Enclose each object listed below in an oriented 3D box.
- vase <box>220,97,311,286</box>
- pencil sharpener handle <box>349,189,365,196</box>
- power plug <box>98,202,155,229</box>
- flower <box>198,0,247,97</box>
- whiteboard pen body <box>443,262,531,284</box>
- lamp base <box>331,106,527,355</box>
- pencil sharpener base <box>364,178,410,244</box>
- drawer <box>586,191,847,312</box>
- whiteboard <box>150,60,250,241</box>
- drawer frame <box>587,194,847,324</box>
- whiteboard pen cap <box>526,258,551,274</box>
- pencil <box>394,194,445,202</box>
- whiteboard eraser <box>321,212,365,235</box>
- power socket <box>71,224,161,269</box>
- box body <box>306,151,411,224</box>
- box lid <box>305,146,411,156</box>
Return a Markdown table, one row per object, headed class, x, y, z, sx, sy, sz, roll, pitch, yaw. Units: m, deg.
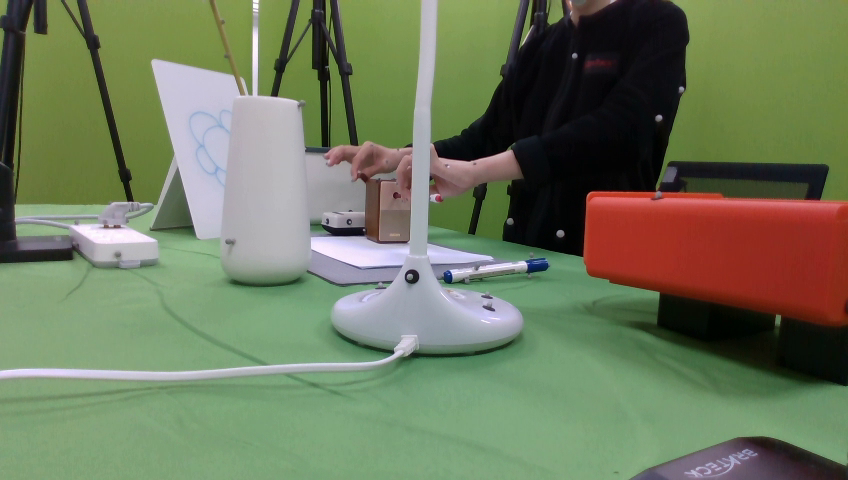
| class | x | y | z | sx | sy | sz | roll | pitch | yaw |
| --- | --- | --- | --- | --- | --- | --- | --- | --- | --- |
| vase | -0.172 | -0.052 | 0.662 | 0.098 | 0.200 | 0.098 | 3 | 8 | 0 |
| pencil sharpener handle | -0.097 | -0.085 | 1.067 | 0.068 | 0.036 | 0.030 | -1 | 8 | -25 |
| power plug | -0.416 | -0.027 | 0.848 | 0.073 | 0.052 | 0.035 | 0 | 8 | -28 |
| flower | -0.187 | -0.133 | 0.648 | 0.038 | 0.362 | 0.044 | -1 | 22 | 43 |
| whiteboard pen body | 0.088 | 0.038 | 0.733 | 0.141 | 0.017 | 0.017 | -5 | 10 | -27 |
| lamp base | 0.006 | -0.012 | 0.478 | 0.161 | 0.180 | 0.179 | 2 | 10 | 2 |
| pencil sharpener base | -0.062 | -0.051 | 1.031 | 0.061 | 0.107 | 0.076 | -1 | 8 | -25 |
| drawer | 0.281 | 0.001 | 0.513 | 0.195 | 0.073 | 0.210 | -1 | 8 | -29 |
| whiteboard | -0.408 | -0.139 | 1.093 | 0.143 | 0.305 | 0.218 | -15 | -1 | 26 |
| drawer frame | 0.285 | 0.004 | 0.508 | 0.203 | 0.082 | 0.212 | -1 | 6 | -29 |
| whiteboard pen cap | 0.141 | 0.033 | 0.759 | 0.033 | 0.018 | 0.018 | -7 | 11 | -26 |
| pencil | -0.016 | -0.066 | 0.932 | 0.012 | 0.012 | 0.193 | -1 | 5 | -25 |
| whiteboard eraser | -0.128 | -0.031 | 1.108 | 0.113 | 0.042 | 0.055 | -3 | 8 | -38 |
| power socket | -0.408 | 0.004 | 0.793 | 0.072 | 0.032 | 0.225 | -2 | 8 | -38 |
| box body | -0.230 | -0.126 | 1.371 | 0.366 | 0.160 | 0.253 | -2 | 8 | -33 |
| box lid | -0.229 | -0.200 | 1.360 | 0.373 | 0.015 | 0.262 | -3 | 9 | -32 |
